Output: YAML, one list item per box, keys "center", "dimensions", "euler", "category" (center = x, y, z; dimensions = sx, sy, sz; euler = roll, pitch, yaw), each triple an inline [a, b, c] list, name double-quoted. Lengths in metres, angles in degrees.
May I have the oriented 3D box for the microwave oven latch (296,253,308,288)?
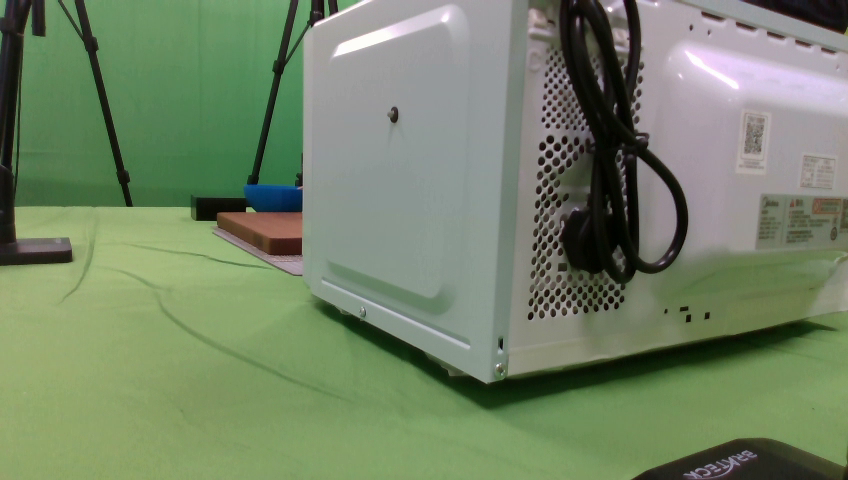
- center: [-0.081, 0.028, 0.574]
  dimensions: [0.079, 0.029, 0.030]
  euler: [1, 6, -16]
  category: "microwave oven latch"

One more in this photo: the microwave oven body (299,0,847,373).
- center: [0.152, -0.055, 0.542]
  dimensions: [0.444, 0.260, 0.324]
  euler: [-2, 7, -33]
  category: "microwave oven body"

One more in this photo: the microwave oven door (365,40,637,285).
- center: [0.105, -0.080, 0.694]
  dimensions: [0.358, 0.243, 0.039]
  euler: [-2, 8, -30]
  category: "microwave oven door"

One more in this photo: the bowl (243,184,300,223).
- center: [-0.321, -0.081, 1.333]
  dimensions: [0.151, 0.077, 0.151]
  euler: [3, 8, 0]
  category: "bowl"

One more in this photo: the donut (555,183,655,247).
- center: [0.182, -0.027, 0.613]
  dimensions: [0.099, 0.048, 0.099]
  euler: [13, -12, 3]
  category: "donut"

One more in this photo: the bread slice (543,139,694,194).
- center: [0.201, -0.074, 0.612]
  dimensions: [0.133, 0.018, 0.107]
  euler: [24, 16, 36]
  category: "bread slice"

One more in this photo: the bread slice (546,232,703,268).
- center: [0.200, 0.011, 0.589]
  dimensions: [0.105, 0.019, 0.131]
  euler: [9, -10, -27]
  category: "bread slice"

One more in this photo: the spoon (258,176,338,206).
- center: [-0.279, -0.112, 1.356]
  dimensions: [0.194, 0.021, 0.041]
  euler: [-27, 18, -26]
  category: "spoon"
